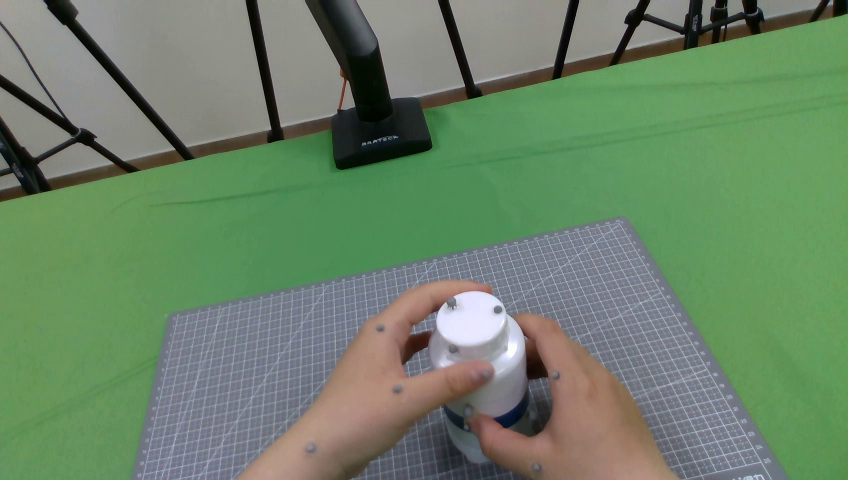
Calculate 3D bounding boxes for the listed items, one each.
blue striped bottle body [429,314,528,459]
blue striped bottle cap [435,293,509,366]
[{"bbox_3d":[0.038,0.091,0.406,0.063,0.122,0.062,-4,44,4],"label":"blue striped bottle body"},{"bbox_3d":[0.029,0.054,0.371,0.044,0.021,0.044,-7,40,6],"label":"blue striped bottle cap"}]
